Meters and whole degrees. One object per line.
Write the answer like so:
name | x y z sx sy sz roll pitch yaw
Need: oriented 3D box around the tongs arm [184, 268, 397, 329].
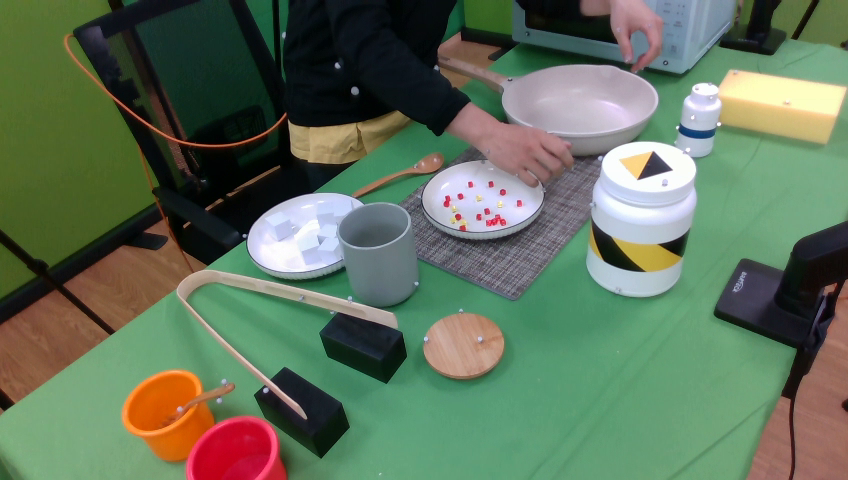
tongs arm | -0.203 0.084 0.847 0.382 0.027 0.051 11 44 35

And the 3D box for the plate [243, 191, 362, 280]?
plate | -0.188 -0.005 0.992 0.207 0.039 0.206 -4 41 4

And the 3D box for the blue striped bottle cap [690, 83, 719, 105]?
blue striped bottle cap | 0.481 -0.251 1.038 0.044 0.021 0.044 -5 40 5

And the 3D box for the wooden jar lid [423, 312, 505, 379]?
wooden jar lid | 0.053 0.142 0.800 0.108 0.021 0.108 -5 39 4

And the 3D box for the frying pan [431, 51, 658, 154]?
frying pan | 0.216 -0.302 1.223 0.484 0.103 0.308 29 50 24

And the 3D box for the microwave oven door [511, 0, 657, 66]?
microwave oven door | 0.351 -0.540 1.349 0.353 0.245 0.039 24 50 31

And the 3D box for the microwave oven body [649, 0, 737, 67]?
microwave oven body | 0.475 -0.602 1.411 0.438 0.261 0.327 23 50 32

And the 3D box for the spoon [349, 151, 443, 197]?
spoon | -0.051 -0.122 1.120 0.194 0.022 0.041 -23 59 -18

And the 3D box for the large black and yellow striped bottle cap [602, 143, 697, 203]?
large black and yellow striped bottle cap | 0.289 -0.088 0.778 0.115 0.019 0.114 -4 40 4

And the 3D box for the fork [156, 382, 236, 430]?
fork | -0.262 0.189 0.690 0.018 0.206 0.028 49 43 -7

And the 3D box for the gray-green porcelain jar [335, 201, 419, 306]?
gray-green porcelain jar | -0.064 0.024 0.872 0.106 0.127 0.105 -4 41 4

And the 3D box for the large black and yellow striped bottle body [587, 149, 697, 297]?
large black and yellow striped bottle body | 0.298 -0.026 0.835 0.131 0.185 0.130 -4 41 4

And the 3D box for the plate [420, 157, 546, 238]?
plate | 0.099 -0.068 1.017 0.209 0.038 0.208 -4 40 4

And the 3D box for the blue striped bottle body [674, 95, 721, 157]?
blue striped bottle body | 0.486 -0.213 1.072 0.063 0.121 0.063 -4 41 4

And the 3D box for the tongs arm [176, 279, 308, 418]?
tongs arm | -0.255 0.132 0.801 0.028 0.028 0.384 -41 40 -23

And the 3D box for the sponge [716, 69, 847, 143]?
sponge | 0.663 -0.256 1.142 0.205 0.061 0.118 18 47 28

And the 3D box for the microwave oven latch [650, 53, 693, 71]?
microwave oven latch | 0.531 -0.386 1.301 0.078 0.029 0.030 26 51 33
